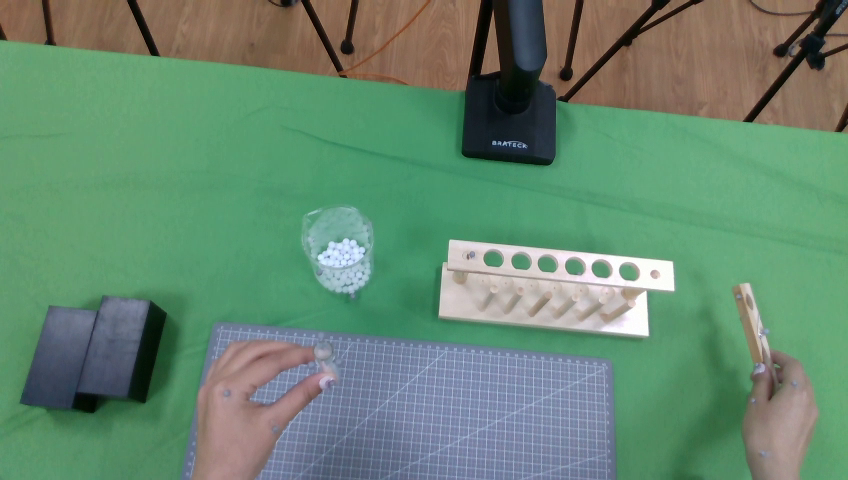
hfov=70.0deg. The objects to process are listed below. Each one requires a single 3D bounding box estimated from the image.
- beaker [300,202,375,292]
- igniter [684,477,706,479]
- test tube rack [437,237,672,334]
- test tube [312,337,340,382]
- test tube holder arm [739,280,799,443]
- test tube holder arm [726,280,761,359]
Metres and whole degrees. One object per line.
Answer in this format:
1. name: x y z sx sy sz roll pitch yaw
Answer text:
1. beaker: -0.095 0.010 0.667 0.083 0.101 0.074 32 70 9
2. igniter: 0.266 0.378 0.593 0.057 0.025 0.275 16 69 -8
3. test tube rack: 0.140 0.053 0.676 0.242 0.085 0.066 6 69 -2
4. test tube: -0.082 0.104 0.514 0.017 0.151 0.017 2 70 -5
5. test tube holder arm: 0.371 0.129 0.660 0.013 0.015 0.177 -6 71 -13
6. test tube holder arm: 0.358 0.088 0.673 0.010 0.015 0.087 -7 71 -13
